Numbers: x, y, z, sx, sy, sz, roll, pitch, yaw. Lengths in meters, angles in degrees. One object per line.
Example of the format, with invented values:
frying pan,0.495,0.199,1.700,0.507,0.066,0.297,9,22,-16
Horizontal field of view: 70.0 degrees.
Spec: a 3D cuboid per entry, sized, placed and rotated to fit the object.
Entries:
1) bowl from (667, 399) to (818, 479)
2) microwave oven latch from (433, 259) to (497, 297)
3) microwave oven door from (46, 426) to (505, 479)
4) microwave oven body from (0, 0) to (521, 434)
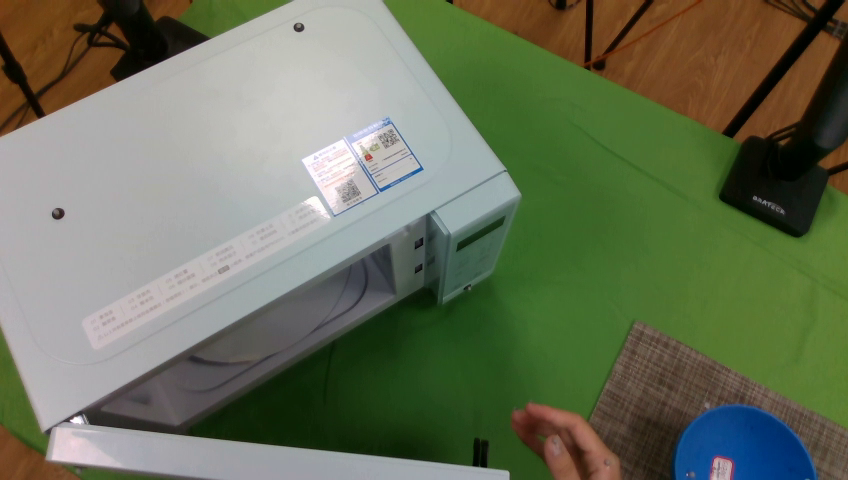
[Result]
bowl,0.331,0.254,0.662,0.151,0.077,0.150,0,69,-1
microwave oven latch,0.050,0.038,0.742,0.079,0.029,0.030,-29,73,-10
microwave oven door,-0.113,0.212,0.567,0.356,0.245,0.039,6,68,1
microwave oven body,-0.179,-0.026,0.658,0.442,0.261,0.324,-30,74,-11
